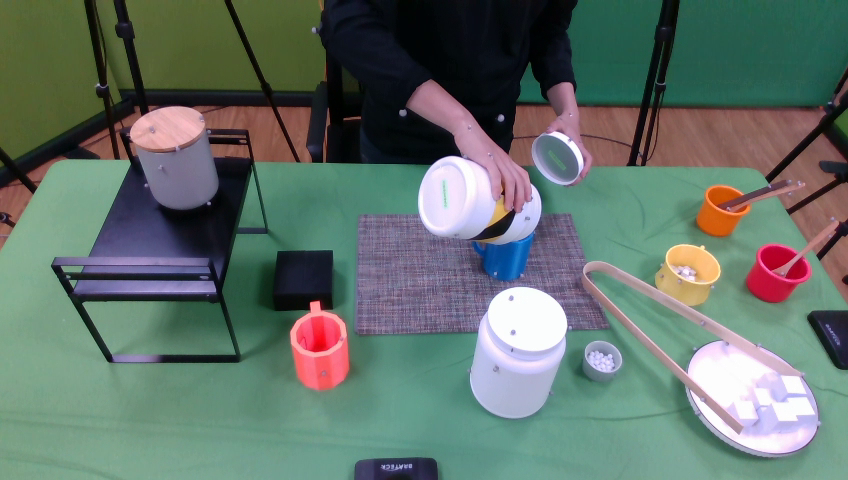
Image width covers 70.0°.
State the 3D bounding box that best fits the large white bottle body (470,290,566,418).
[{"bbox_3d":[0.143,0.173,0.930,0.131,0.185,0.130,2,47,-2],"label":"large white bottle body"}]

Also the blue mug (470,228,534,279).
[{"bbox_3d":[0.141,0.005,1.140,0.116,0.106,0.082,18,48,13],"label":"blue mug"}]

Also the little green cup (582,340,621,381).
[{"bbox_3d":[0.295,0.203,1.014,0.061,0.039,0.061,3,46,-2],"label":"little green cup"}]

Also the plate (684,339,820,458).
[{"bbox_3d":[0.523,0.256,0.982,0.208,0.039,0.206,2,46,-2],"label":"plate"}]

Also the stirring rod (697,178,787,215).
[{"bbox_3d":[0.650,-0.088,1.245,0.006,0.176,0.014,29,49,-39],"label":"stirring rod"}]

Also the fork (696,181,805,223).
[{"bbox_3d":[0.659,-0.077,1.232,0.207,0.019,0.028,-26,35,34],"label":"fork"}]

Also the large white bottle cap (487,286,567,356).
[{"bbox_3d":[0.147,0.114,0.869,0.115,0.018,0.114,3,46,-3],"label":"large white bottle cap"}]

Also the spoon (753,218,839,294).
[{"bbox_3d":[0.700,0.031,1.138,0.194,0.022,0.041,-47,54,14],"label":"spoon"}]

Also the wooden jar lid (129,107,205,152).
[{"bbox_3d":[-0.385,-0.163,0.915,0.108,0.021,0.107,2,47,-2],"label":"wooden jar lid"}]

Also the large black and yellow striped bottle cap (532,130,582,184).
[{"bbox_3d":[0.264,-0.165,1.208,0.019,0.115,0.114,-39,60,-25],"label":"large black and yellow striped bottle cap"}]

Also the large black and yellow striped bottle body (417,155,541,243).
[{"bbox_3d":[0.096,-0.063,1.009,0.185,0.131,0.130,7,38,-41],"label":"large black and yellow striped bottle body"}]

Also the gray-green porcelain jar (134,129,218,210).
[{"bbox_3d":[-0.388,-0.120,0.960,0.106,0.127,0.105,2,46,-2],"label":"gray-green porcelain jar"}]

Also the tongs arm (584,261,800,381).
[{"bbox_3d":[0.452,0.137,1.063,0.051,0.027,0.382,-34,50,-27],"label":"tongs arm"}]

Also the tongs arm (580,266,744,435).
[{"bbox_3d":[0.384,0.173,1.028,0.028,0.028,0.385,-25,46,-15],"label":"tongs arm"}]

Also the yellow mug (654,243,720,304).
[{"bbox_3d":[0.504,0.054,1.154,0.099,0.064,0.130,28,49,22],"label":"yellow mug"}]

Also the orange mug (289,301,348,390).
[{"bbox_3d":[-0.170,0.162,0.976,0.083,0.101,0.125,-8,52,-11],"label":"orange mug"}]
